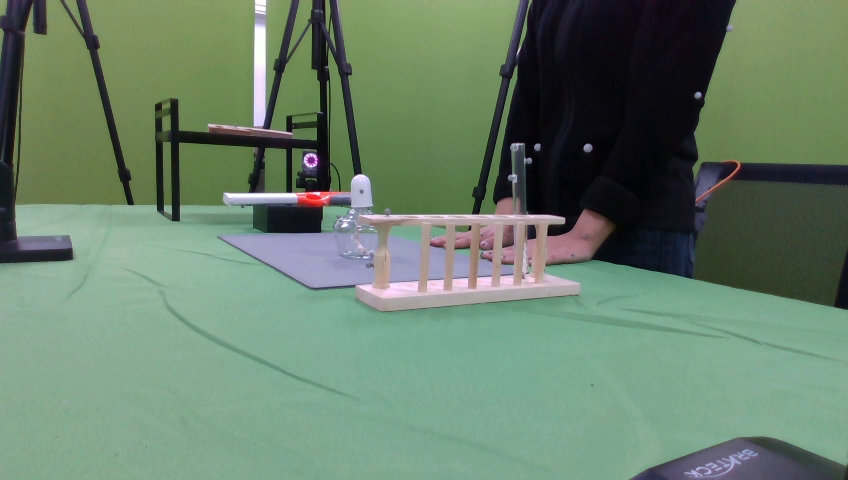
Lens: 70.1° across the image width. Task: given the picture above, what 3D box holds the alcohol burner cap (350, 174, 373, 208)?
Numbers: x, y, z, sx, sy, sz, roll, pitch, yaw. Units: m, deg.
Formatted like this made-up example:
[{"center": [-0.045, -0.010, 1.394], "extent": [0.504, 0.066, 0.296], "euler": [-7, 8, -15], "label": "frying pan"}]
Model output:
[{"center": [-0.090, -0.068, 0.850], "extent": [0.034, 0.048, 0.034], "euler": [-4, 9, 1], "label": "alcohol burner cap"}]

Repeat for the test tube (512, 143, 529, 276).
[{"center": [0.108, -0.033, 0.678], "extent": [0.017, 0.150, 0.017], "euler": [-3, 7, 1], "label": "test tube"}]

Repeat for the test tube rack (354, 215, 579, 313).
[{"center": [0.053, 0.019, 0.635], "extent": [0.243, 0.085, 0.066], "euler": [-1, 8, -29], "label": "test tube rack"}]

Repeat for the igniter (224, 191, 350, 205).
[{"center": [-0.237, -0.079, 1.157], "extent": [0.278, 0.025, 0.057], "euler": [-2, 21, -31], "label": "igniter"}]

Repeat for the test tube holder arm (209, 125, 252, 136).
[{"center": [-0.419, -0.236, 1.308], "extent": [0.088, 0.015, 0.010], "euler": [1, 40, -28], "label": "test tube holder arm"}]

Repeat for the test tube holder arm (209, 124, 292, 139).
[{"center": [-0.381, -0.239, 1.334], "extent": [0.179, 0.015, 0.013], "euler": [1, 41, -29], "label": "test tube holder arm"}]

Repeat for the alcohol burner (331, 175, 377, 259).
[{"center": [-0.091, -0.033, 0.855], "extent": [0.078, 0.119, 0.078], "euler": [4, 7, 0], "label": "alcohol burner"}]
